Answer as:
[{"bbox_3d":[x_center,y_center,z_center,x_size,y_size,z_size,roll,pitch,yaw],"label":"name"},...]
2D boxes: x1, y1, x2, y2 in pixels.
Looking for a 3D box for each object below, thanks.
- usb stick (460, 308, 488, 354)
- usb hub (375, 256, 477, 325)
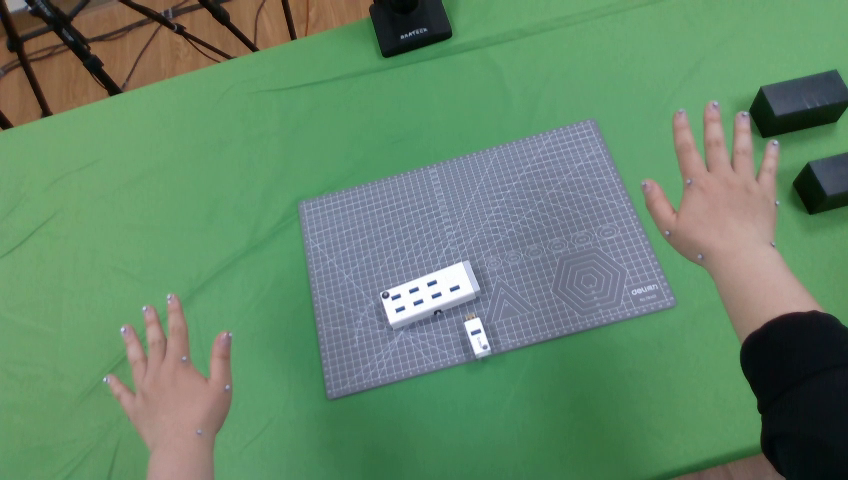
[{"bbox_3d":[0.060,0.111,0.756,0.021,0.027,0.058,-22,60,4],"label":"usb stick"},{"bbox_3d":[0.002,0.065,0.788,0.125,0.025,0.049,-21,63,-1],"label":"usb hub"}]
